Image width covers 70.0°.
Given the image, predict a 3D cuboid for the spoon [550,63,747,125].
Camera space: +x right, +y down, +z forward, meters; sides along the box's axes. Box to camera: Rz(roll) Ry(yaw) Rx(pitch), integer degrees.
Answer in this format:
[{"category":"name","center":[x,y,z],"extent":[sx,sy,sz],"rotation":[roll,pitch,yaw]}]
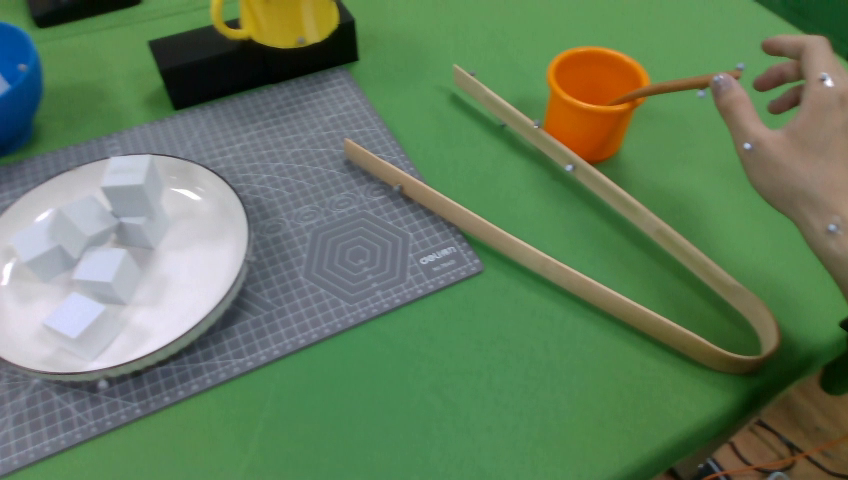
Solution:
[{"category":"spoon","center":[0.183,-0.126,0.525],"extent":[0.041,0.193,0.022],"rotation":[-44,109,-24]}]

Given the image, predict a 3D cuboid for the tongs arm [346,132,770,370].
[{"category":"tongs arm","center":[0.087,0.000,0.502],"extent":[0.385,0.028,0.028],"rotation":[31,54,19]}]

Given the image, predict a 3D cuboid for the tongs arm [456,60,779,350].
[{"category":"tongs arm","center":[0.144,-0.046,0.536],"extent":[0.051,0.027,0.381],"rotation":[-34,63,-25]}]

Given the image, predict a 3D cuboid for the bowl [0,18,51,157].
[{"category":"bowl","center":[-0.414,-0.128,0.559],"extent":[0.151,0.077,0.150],"rotation":[0,53,0]}]

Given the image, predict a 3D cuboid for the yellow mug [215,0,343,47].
[{"category":"yellow mug","center":[-0.145,-0.241,0.593],"extent":[0.131,0.064,0.099],"rotation":[-36,61,-23]}]

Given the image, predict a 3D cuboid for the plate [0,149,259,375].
[{"category":"plate","center":[-0.234,0.014,0.479],"extent":[0.208,0.039,0.205],"rotation":[1,53,0]}]
